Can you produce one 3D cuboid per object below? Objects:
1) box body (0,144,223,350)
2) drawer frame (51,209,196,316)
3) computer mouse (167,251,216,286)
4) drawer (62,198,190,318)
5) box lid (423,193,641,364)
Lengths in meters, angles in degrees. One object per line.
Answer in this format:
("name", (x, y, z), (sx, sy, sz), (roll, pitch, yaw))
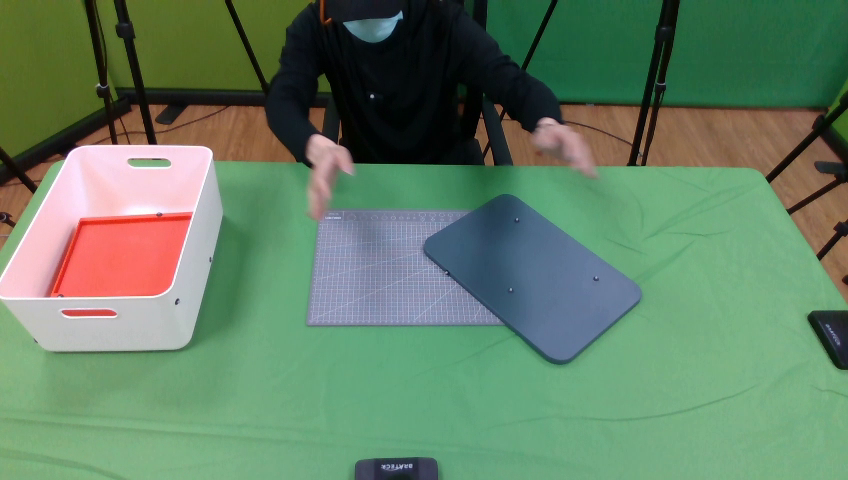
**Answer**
("box body", (-0.510, 0.008, 1.054), (0.254, 0.161, 0.361), (-1, 46, -5))
("drawer frame", (-0.503, 0.045, 1.066), (0.214, 0.083, 0.200), (-4, 47, -7))
("computer mouse", (-0.417, 0.038, 1.057), (0.063, 0.041, 0.116), (-34, 51, -27))
("drawer", (-0.513, 0.040, 1.059), (0.212, 0.074, 0.193), (-15, 52, 3))
("box lid", (0.202, 0.054, 1.168), (0.263, 0.015, 0.369), (-31, 56, -30))
